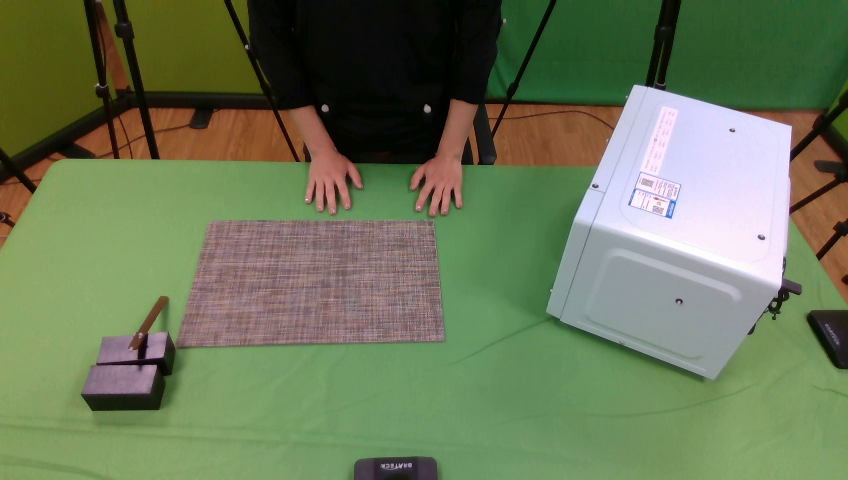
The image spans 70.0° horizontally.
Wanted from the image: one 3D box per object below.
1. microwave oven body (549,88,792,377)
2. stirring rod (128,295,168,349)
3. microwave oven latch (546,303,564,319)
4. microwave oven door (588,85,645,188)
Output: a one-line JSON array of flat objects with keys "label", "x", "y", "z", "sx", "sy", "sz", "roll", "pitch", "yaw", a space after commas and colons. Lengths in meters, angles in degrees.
[{"label": "microwave oven body", "x": 0.456, "y": -0.028, "z": 1.088, "sx": 0.325, "sy": 0.261, "sz": 0.440, "roll": 20, "pitch": 47, "yaw": 16}, {"label": "stirring rod", "x": -0.451, "y": 0.131, "z": 0.996, "sx": 0.014, "sy": 0.006, "sz": 0.175, "roll": 9, "pitch": 20, "yaw": -10}, {"label": "microwave oven latch", "x": 0.242, "y": 0.102, "z": 1.081, "sx": 0.030, "sy": 0.029, "sz": 0.079, "roll": 21, "pitch": 48, "yaw": 17}, {"label": "microwave oven door", "x": 0.342, "y": -0.107, "z": 1.149, "sx": 0.039, "sy": 0.245, "sz": 0.354, "roll": 20, "pitch": 48, "yaw": 15}]
